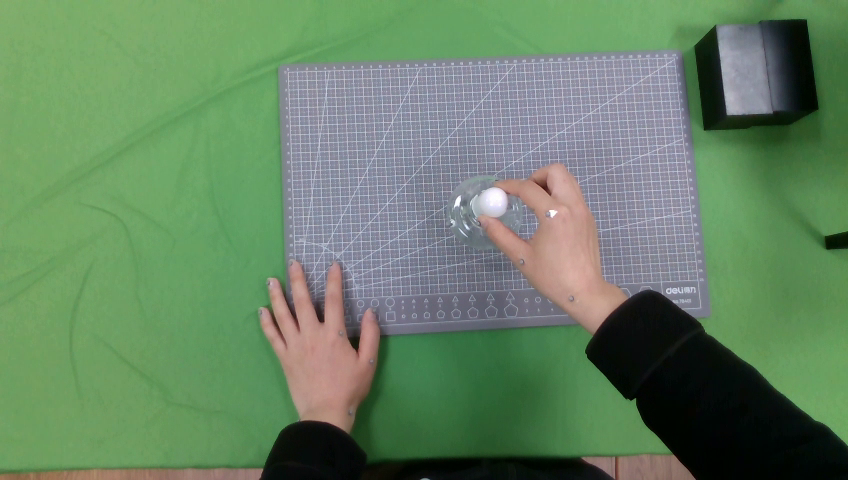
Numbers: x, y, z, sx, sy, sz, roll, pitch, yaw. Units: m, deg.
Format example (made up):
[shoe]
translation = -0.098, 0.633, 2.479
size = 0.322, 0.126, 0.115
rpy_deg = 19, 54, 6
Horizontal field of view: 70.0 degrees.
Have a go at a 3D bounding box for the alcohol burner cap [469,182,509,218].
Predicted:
[alcohol burner cap]
translation = 0.062, -0.039, 0.559
size = 0.034, 0.048, 0.034
rpy_deg = 1, 86, -7

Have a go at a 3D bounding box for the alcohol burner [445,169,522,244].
[alcohol burner]
translation = 0.061, -0.035, 0.597
size = 0.078, 0.119, 0.077
rpy_deg = 0, 85, -1
